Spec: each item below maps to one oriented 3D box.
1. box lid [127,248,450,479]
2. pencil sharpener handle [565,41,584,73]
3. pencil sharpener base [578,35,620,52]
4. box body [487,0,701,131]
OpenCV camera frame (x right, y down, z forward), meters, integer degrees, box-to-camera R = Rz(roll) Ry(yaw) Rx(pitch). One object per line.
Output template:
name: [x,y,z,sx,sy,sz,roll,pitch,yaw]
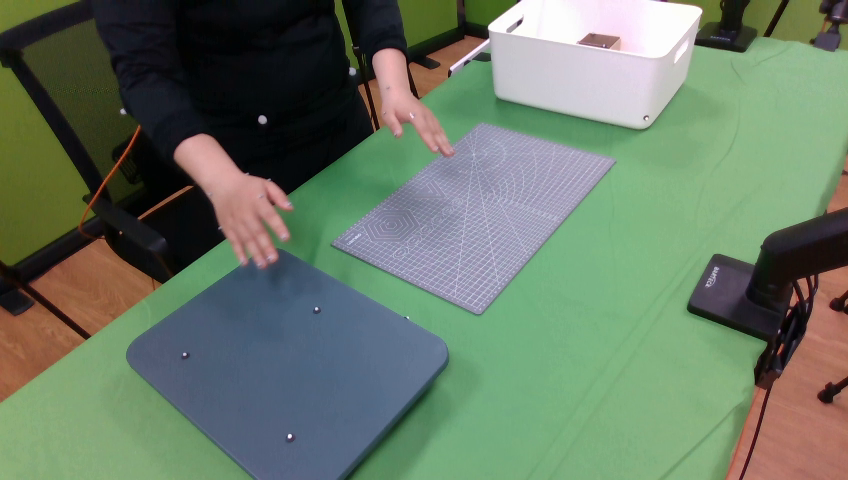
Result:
box lid: [-0.177,0.145,0.768,0.368,0.015,0.264,24,50,32]
pencil sharpener handle: [0.318,-0.391,1.289,0.030,0.068,0.036,20,40,30]
pencil sharpener base: [0.362,-0.367,1.273,0.076,0.107,0.061,20,48,30]
box body: [0.345,-0.379,1.257,0.361,0.161,0.255,20,48,29]
